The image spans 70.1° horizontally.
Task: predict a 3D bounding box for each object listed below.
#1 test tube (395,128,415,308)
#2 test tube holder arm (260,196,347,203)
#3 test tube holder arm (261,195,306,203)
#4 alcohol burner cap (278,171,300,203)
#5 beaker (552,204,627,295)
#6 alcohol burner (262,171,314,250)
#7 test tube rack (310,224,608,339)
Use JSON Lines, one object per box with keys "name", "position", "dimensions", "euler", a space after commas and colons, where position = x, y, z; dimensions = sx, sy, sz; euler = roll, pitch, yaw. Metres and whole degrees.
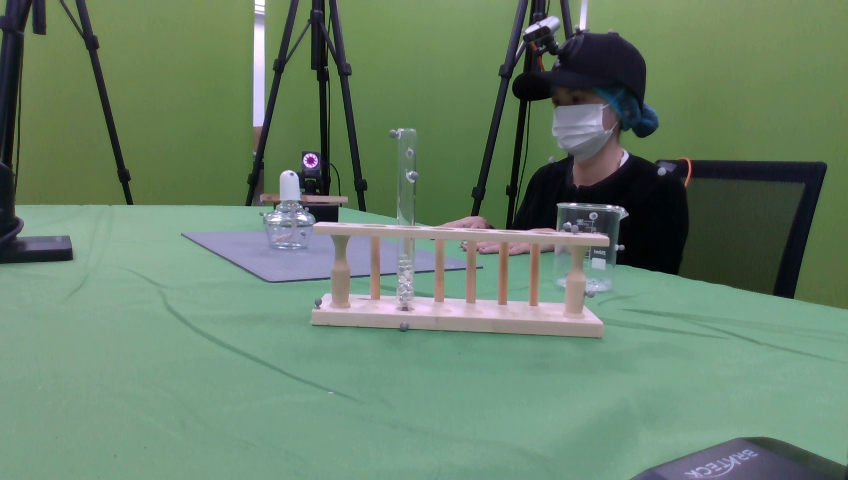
{"name": "test tube", "position": [-0.016, -0.017, 0.502], "dimensions": [0.017, 0.150, 0.017], "euler": [1, 10, 0]}
{"name": "test tube holder arm", "position": [-0.239, -0.082, 1.213], "dimensions": [0.179, 0.015, 0.013], "euler": [-1, 0, -32]}
{"name": "test tube holder arm", "position": [-0.275, -0.081, 1.184], "dimensions": [0.088, 0.015, 0.010], "euler": [-1, 0, -32]}
{"name": "alcohol burner cap", "position": [-0.203, -0.080, 0.909], "dimensions": [0.034, 0.048, 0.034], "euler": [-1, 3, 0]}
{"name": "beaker", "position": [0.191, 0.010, 0.708], "dimensions": [0.083, 0.100, 0.074], "euler": [8, 9, 33]}
{"name": "alcohol burner", "position": [-0.205, -0.045, 0.913], "dimensions": [0.078, 0.119, 0.078], "euler": [1, 9, 0]}
{"name": "test tube rack", "position": [0.028, 0.032, 0.528], "dimensions": [0.242, 0.085, 0.067], "euler": [3, 7, 0]}
